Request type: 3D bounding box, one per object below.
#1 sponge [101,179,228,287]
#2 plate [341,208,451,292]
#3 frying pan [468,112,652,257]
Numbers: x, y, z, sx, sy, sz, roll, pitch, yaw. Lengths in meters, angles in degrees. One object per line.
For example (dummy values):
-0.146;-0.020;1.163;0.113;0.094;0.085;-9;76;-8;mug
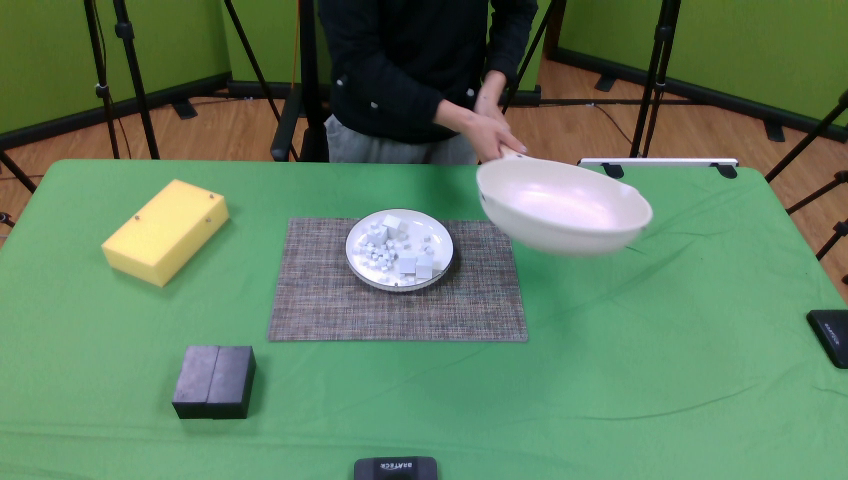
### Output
-0.486;-0.018;1.151;0.118;0.061;0.206;19;47;12;sponge
-0.053;0.022;1.156;0.208;0.039;0.206;2;46;-2;plate
0.194;-0.120;1.101;0.308;0.103;0.484;-3;39;-23;frying pan
